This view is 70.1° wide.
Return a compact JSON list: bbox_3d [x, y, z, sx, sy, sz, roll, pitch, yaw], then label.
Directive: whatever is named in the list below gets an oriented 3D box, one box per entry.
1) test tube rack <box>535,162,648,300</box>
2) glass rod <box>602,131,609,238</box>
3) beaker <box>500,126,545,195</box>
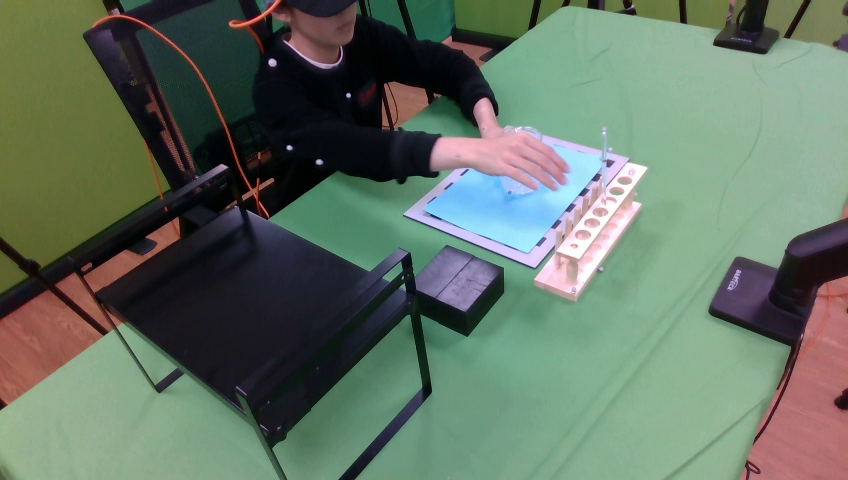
[{"bbox_3d":[0.257,-0.024,0.916,0.066,0.085,0.243,22,49,30],"label":"test tube rack"},{"bbox_3d":[0.262,-0.074,0.872,0.008,0.201,0.008,-9,44,9],"label":"glass rod"},{"bbox_3d":[0.169,-0.137,1.045,0.074,0.101,0.083,-8,40,0],"label":"beaker"}]
